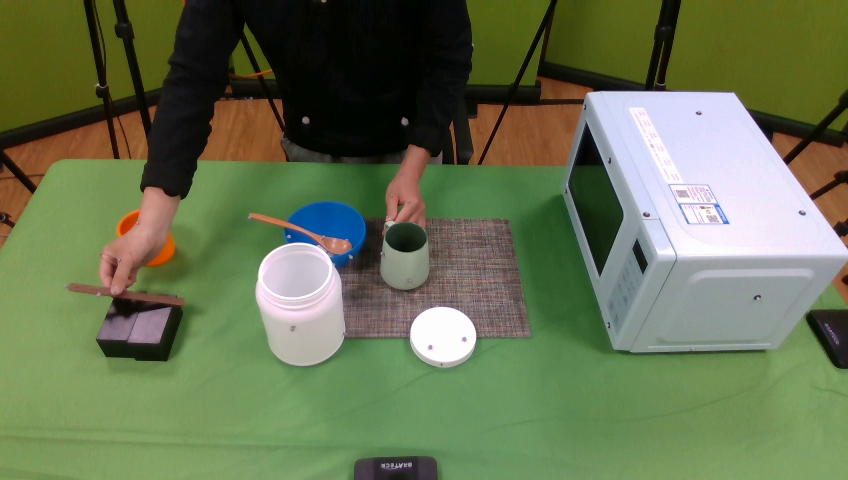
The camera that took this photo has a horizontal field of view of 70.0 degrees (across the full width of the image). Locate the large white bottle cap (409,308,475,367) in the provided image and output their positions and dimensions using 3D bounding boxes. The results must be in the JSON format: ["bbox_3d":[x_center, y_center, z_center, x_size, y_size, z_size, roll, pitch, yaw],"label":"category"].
[{"bbox_3d":[0.031,0.166,1.041,0.115,0.018,0.114,2,47,-2],"label":"large white bottle cap"}]

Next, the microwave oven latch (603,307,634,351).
[{"bbox_3d":[0.332,0.153,1.044,0.030,0.029,0.078,0,45,-4],"label":"microwave oven latch"}]

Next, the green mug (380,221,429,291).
[{"bbox_3d":[-0.043,0.020,1.116,0.092,0.105,0.124,-20,50,-21],"label":"green mug"}]

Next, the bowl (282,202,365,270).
[{"bbox_3d":[-0.185,0.006,1.137,0.151,0.077,0.150,3,46,-3],"label":"bowl"}]

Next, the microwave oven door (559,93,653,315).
[{"bbox_3d":[0.327,-0.074,1.123,0.039,0.245,0.353,-1,46,-5],"label":"microwave oven door"}]

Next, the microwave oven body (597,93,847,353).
[{"bbox_3d":[0.475,-0.041,1.109,0.326,0.261,0.438,-1,45,-4],"label":"microwave oven body"}]

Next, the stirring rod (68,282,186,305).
[{"bbox_3d":[-0.483,0.087,0.989,0.177,0.006,0.014,10,60,-18],"label":"stirring rod"}]

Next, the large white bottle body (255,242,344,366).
[{"bbox_3d":[-0.196,0.102,0.967,0.131,0.185,0.130,2,49,-2],"label":"large white bottle body"}]

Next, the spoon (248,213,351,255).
[{"bbox_3d":[-0.228,-0.014,1.113,0.194,0.022,0.041,23,41,-15],"label":"spoon"}]
